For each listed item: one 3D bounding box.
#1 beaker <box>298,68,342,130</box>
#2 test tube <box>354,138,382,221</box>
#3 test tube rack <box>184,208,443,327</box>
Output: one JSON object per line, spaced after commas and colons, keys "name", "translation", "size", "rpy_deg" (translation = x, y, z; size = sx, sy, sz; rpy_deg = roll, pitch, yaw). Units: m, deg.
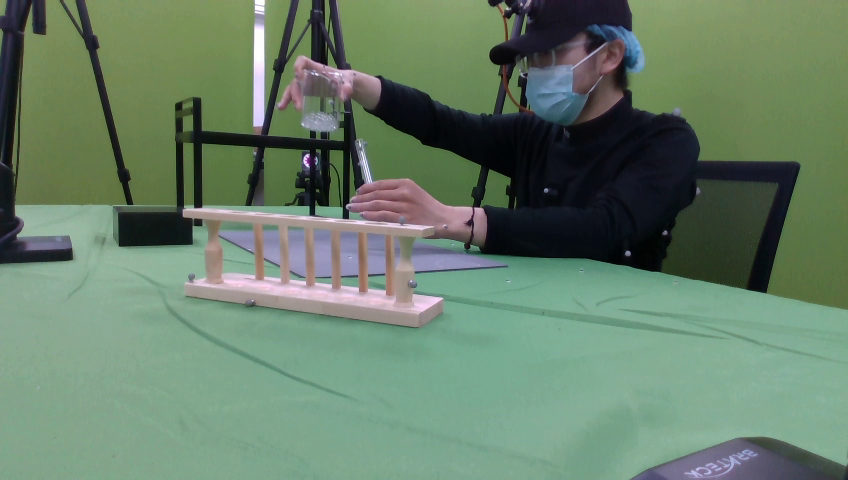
{"name": "beaker", "translation": [-0.184, -0.247, 1.066], "size": [0.074, 0.100, 0.083], "rpy_deg": [-2, 20, -26]}
{"name": "test tube", "translation": [-0.091, -0.099, 0.986], "size": [0.017, 0.150, 0.017], "rpy_deg": [-13, -18, -4]}
{"name": "test tube rack", "translation": [-0.106, 0.019, 0.570], "size": [0.241, 0.085, 0.067], "rpy_deg": [5, 7, 20]}
